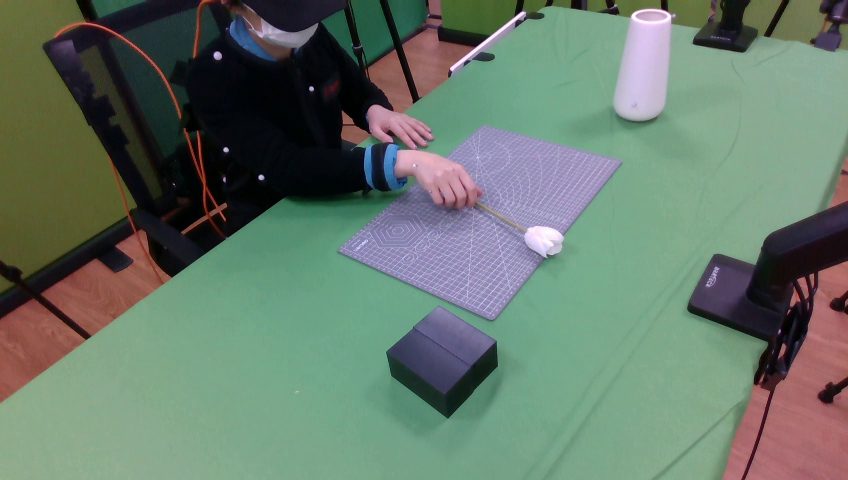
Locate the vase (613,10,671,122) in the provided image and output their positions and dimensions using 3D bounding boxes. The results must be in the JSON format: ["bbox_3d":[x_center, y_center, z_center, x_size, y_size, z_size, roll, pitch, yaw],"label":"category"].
[{"bbox_3d":[0.419,-0.326,1.151,0.098,0.201,0.097,-4,42,4],"label":"vase"}]

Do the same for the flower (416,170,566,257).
[{"bbox_3d":[0.094,-0.061,1.028,0.358,0.038,0.044,33,92,43],"label":"flower"}]
